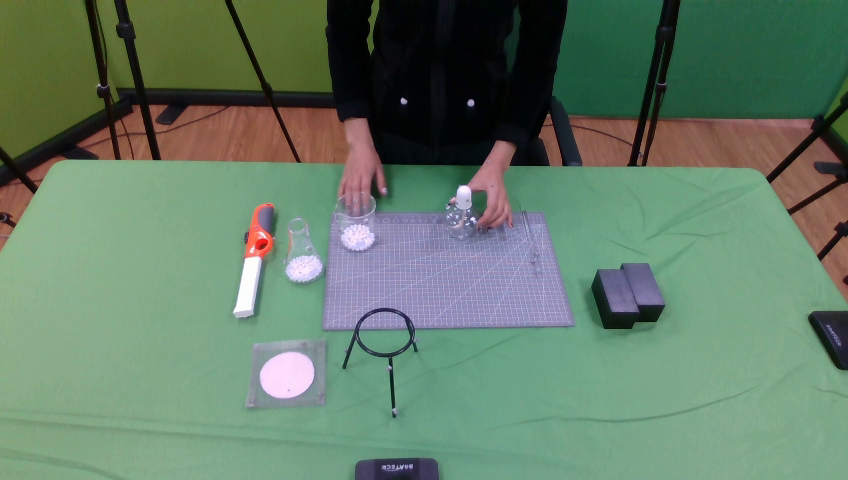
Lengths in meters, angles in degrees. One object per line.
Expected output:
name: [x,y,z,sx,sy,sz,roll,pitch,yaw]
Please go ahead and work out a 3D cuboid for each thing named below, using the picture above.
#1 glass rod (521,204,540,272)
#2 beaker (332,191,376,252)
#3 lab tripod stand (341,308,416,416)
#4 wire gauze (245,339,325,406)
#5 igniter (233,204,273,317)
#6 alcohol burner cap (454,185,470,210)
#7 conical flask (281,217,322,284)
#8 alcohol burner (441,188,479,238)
glass rod: [0.215,-0.008,1.230,0.008,0.008,0.198,0,43,-3]
beaker: [-0.133,-0.032,1.163,0.084,0.101,0.073,-19,50,-20]
lab tripod stand: [-0.061,0.177,0.946,0.148,0.132,0.147,2,44,-2]
wire gauze: [-0.224,0.214,0.985,0.125,0.011,0.120,-2,46,-5]
igniter: [-0.321,0.029,1.142,0.057,0.025,0.274,-7,46,4]
alcohol burner cap: [0.074,-0.085,1.170,0.034,0.048,0.033,-1,51,2]
conical flask: [-0.226,0.016,1.097,0.075,0.122,0.075,2,46,-2]
alcohol burner: [0.073,-0.061,1.197,0.078,0.119,0.077,4,47,-4]
